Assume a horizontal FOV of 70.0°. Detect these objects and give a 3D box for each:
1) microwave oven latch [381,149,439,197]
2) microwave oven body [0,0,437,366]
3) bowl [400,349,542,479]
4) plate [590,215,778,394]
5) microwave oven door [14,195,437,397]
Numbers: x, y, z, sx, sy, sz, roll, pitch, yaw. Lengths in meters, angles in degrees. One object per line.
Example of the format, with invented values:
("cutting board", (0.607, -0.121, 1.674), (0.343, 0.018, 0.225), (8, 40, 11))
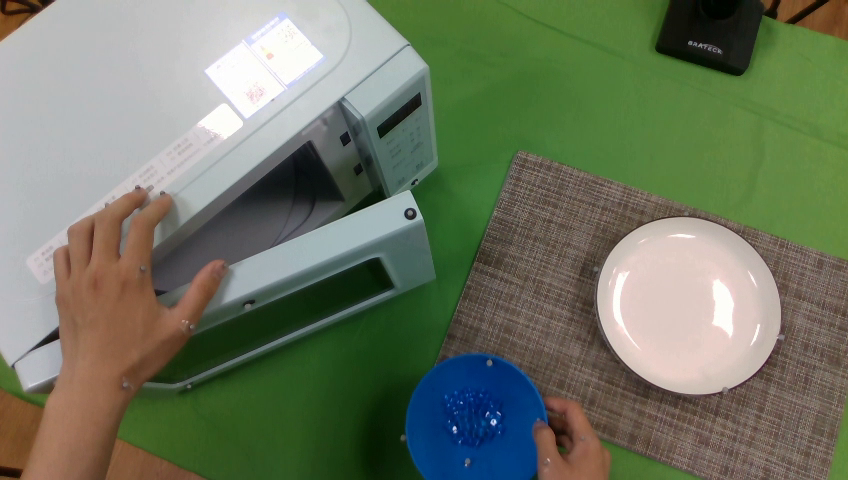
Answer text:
("microwave oven latch", (-0.018, -0.089, 0.749), (0.079, 0.029, 0.030), (-39, 77, -6))
("microwave oven body", (-0.254, -0.105, 0.665), (0.441, 0.261, 0.324), (-41, 77, -7))
("bowl", (0.053, 0.201, 0.671), (0.151, 0.077, 0.150), (-2, 74, 7))
("plate", (0.296, 0.074, 0.706), (0.207, 0.039, 0.206), (-1, 75, 3))
("microwave oven door", (-0.161, 0.069, 0.611), (0.356, 0.245, 0.039), (-23, 74, -3))
